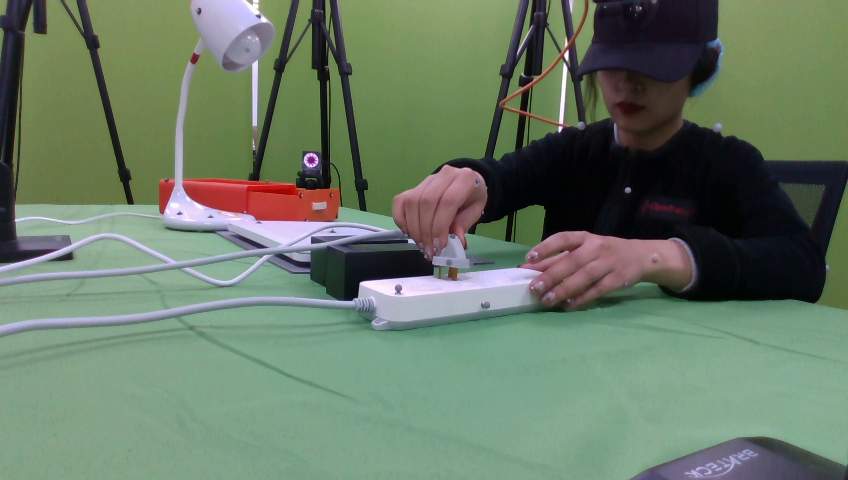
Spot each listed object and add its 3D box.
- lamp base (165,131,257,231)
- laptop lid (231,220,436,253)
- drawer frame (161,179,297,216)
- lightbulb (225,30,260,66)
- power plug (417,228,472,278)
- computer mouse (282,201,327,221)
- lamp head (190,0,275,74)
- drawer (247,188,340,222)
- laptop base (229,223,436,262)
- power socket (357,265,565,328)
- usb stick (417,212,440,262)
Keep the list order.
[{"bbox_3d":[-0.407,-0.111,1.119,0.179,0.180,0.161,-1,7,7],"label":"lamp base"},{"bbox_3d":[-0.142,-0.009,0.942,0.243,0.013,0.355,0,7,-31],"label":"laptop lid"},{"bbox_3d":[-0.421,-0.089,1.329,0.213,0.082,0.202,4,8,16],"label":"drawer frame"},{"bbox_3d":[-0.318,-0.335,1.000,0.107,0.059,0.059,47,15,5],"label":"lightbulb"},{"bbox_3d":[0.019,0.016,0.589,0.035,0.052,0.072,7,1,-24],"label":"power plug"},{"bbox_3d":[-0.254,-0.062,1.292,0.063,0.041,0.117,1,2,10],"label":"computer mouse"},{"bbox_3d":[-0.331,-0.355,1.008,0.123,0.112,0.112,43,15,6],"label":"lamp head"},{"bbox_3d":[-0.314,-0.079,1.301,0.211,0.073,0.195,4,8,15],"label":"drawer"},{"bbox_3d":[-0.145,0.003,0.942,0.237,0.023,0.352,2,6,-32],"label":"laptop base"},{"bbox_3d":[0.041,0.049,0.573,0.228,0.032,0.072,-4,8,-34],"label":"power socket"},{"bbox_3d":[0.005,-0.003,0.721,0.027,0.059,0.021,0,-3,-1],"label":"usb stick"}]
